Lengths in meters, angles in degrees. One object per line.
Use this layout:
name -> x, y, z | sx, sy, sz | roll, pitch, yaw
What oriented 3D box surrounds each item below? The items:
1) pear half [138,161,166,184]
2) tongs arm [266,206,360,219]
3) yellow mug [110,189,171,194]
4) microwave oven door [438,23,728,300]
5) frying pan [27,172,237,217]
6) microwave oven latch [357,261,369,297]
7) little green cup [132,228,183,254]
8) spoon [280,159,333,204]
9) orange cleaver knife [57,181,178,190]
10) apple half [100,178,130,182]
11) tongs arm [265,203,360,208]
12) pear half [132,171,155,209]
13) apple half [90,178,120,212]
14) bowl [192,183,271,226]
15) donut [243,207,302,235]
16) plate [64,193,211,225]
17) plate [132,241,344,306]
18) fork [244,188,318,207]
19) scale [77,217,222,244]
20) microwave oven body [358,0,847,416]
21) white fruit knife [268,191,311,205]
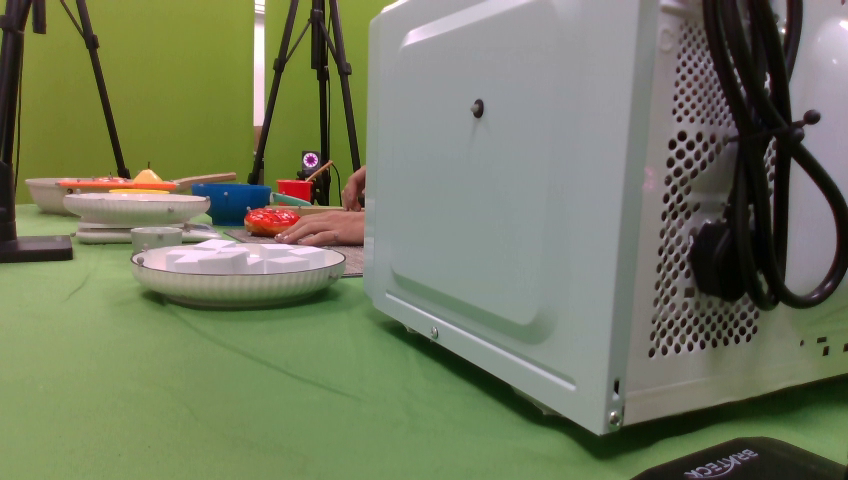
pear half -> -0.602, -0.120, 1.354 | 0.056, 0.110, 0.076 | 4, 11, 5
tongs arm -> -0.174, -0.060, 1.364 | 0.387, 0.026, 0.050 | 0, 4, -32
yellow mug -> -0.519, -0.055, 1.080 | 0.099, 0.064, 0.131 | 7, 10, 26
microwave oven door -> 0.181, -0.073, 0.621 | 0.358, 0.243, 0.039 | -2, 8, -29
frying pan -> -0.624, -0.118, 1.387 | 0.305, 0.102, 0.490 | 8, 17, 32
microwave oven latch -> -0.019, 0.033, 0.530 | 0.079, 0.029, 0.030 | -1, 7, -26
little green cup -> -0.342, 0.006, 0.779 | 0.061, 0.038, 0.061 | 2, 8, 0
spoon -> -0.317, -0.159, 1.640 | 0.194, 0.022, 0.041 | -49, 32, -20
orange cleaver knife -> -0.600, -0.109, 1.188 | 0.212, 0.012, 0.077 | -1, 11, -26
apple half -> -0.638, -0.093, 1.266 | 0.053, 0.074, 0.081 | 7, 5, 10
tongs arm -> -0.212, -0.069, 1.440 | 0.389, 0.027, 0.028 | 1, 0, -17
pear half -> -0.636, -0.113, 1.362 | 0.031, 0.088, 0.070 | 3, 13, 1
apple half -> -0.677, -0.096, 1.271 | 0.033, 0.081, 0.081 | 7, 8, 10
bowl -> -0.382, -0.071, 1.202 | 0.151, 0.077, 0.151 | 3, 7, 0
donut -> -0.261, -0.032, 1.043 | 0.099, 0.048, 0.099 | 4, 9, 0
plate -> -0.446, -0.050, 0.951 | 0.209, 0.038, 0.209 | 2, 7, 0
plate -> -0.187, 0.033, 0.625 | 0.208, 0.039, 0.207 | 2, 7, 0
fork -> -0.356, -0.105, 1.526 | 0.208, 0.018, 0.028 | 16, -5, -41
scale -> -0.434, -0.019, 0.963 | 0.202, 0.031, 0.148 | -1, 8, -27
microwave oven body -> 0.211, -0.047, 0.474 | 0.444, 0.260, 0.324 | -1, 7, -28
white fruit knife -> -0.364, -0.105, 1.464 | 0.208, 0.027, 0.016 | 15, 0, -34
